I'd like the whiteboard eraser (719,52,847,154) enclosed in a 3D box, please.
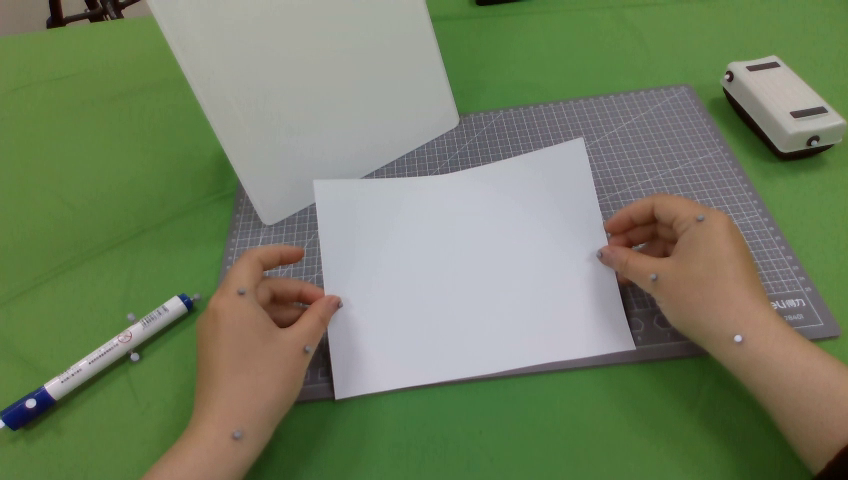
[{"bbox_3d":[0.318,-0.123,0.544,0.055,0.042,0.111,-13,49,-1],"label":"whiteboard eraser"}]

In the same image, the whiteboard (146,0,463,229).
[{"bbox_3d":[-0.127,-0.207,0.541,0.217,0.308,0.142,-31,31,-17],"label":"whiteboard"}]

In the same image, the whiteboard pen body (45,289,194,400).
[{"bbox_3d":[-0.235,0.082,0.451,0.140,0.017,0.017,-38,55,-25],"label":"whiteboard pen body"}]

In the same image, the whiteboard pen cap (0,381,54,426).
[{"bbox_3d":[-0.278,0.114,0.427,0.033,0.018,0.018,-39,55,-25],"label":"whiteboard pen cap"}]
